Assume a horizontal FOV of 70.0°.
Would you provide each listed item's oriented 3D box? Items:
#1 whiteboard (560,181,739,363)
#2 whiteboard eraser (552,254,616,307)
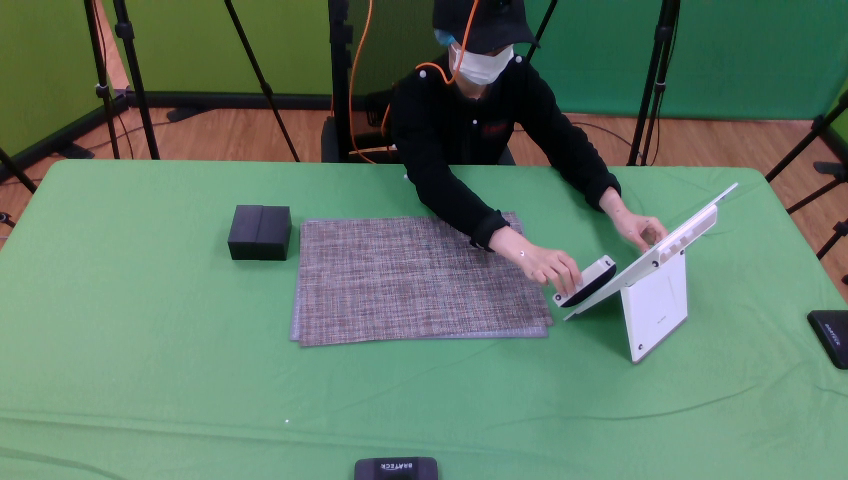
[{"bbox_3d":[0.406,0.076,1.000,0.217,0.306,0.143,-29,74,-29],"label":"whiteboard"},{"bbox_3d":[0.274,0.073,1.027,0.042,0.113,0.055,51,31,9],"label":"whiteboard eraser"}]
